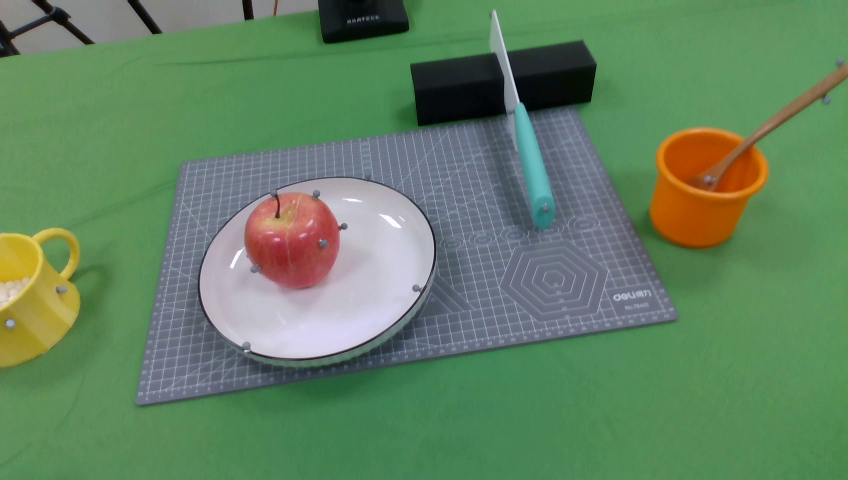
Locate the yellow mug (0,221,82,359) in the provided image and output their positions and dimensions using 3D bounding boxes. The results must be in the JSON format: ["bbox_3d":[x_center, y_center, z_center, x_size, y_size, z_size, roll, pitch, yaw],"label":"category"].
[{"bbox_3d":[-0.360,0.034,0.537,0.099,0.064,0.130,19,53,20],"label":"yellow mug"}]

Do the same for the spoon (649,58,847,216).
[{"bbox_3d":[0.281,-0.086,0.531,0.022,0.194,0.041,23,35,-35],"label":"spoon"}]

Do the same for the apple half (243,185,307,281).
[{"bbox_3d":[-0.129,-0.005,0.531,0.053,0.075,0.080,-1,52,10],"label":"apple half"}]

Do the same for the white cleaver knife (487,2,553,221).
[{"bbox_3d":[0.096,-0.140,0.641,0.021,0.066,0.283,-7,59,1],"label":"white cleaver knife"}]

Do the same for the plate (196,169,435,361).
[{"bbox_3d":[-0.093,0.020,0.542,0.209,0.038,0.207,-2,50,3],"label":"plate"}]

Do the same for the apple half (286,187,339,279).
[{"bbox_3d":[-0.090,-0.005,0.526,0.033,0.082,0.080,-2,49,10],"label":"apple half"}]
